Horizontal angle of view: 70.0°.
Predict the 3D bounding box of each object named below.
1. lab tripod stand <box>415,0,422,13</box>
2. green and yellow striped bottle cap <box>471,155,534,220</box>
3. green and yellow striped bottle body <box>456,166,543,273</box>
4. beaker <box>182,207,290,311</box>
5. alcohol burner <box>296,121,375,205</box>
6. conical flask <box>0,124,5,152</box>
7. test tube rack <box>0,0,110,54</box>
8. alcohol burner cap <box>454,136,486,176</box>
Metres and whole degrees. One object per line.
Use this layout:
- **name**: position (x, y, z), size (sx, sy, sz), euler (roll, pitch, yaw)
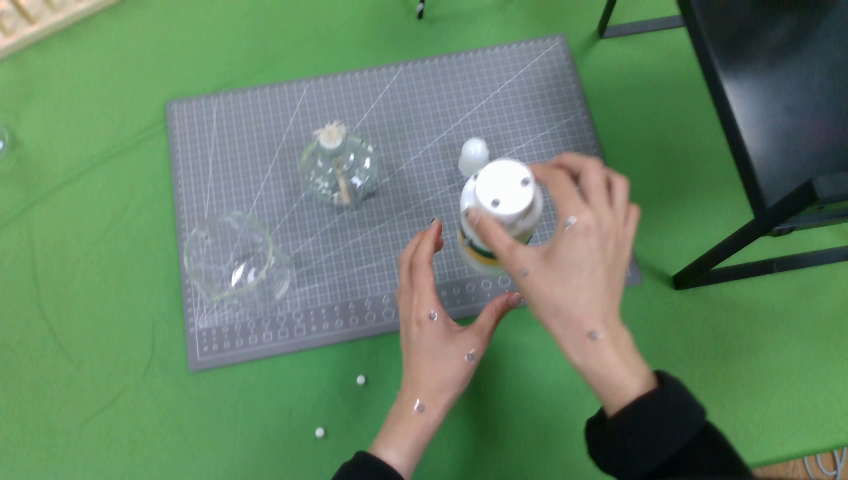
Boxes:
- **lab tripod stand**: position (0.044, -0.329, 0.652), size (0.148, 0.132, 0.147), euler (1, 71, -1)
- **green and yellow striped bottle cap**: position (0.056, -0.038, 0.434), size (0.045, 0.020, 0.045), euler (0, 72, 0)
- **green and yellow striped bottle body**: position (0.058, -0.020, 0.483), size (0.063, 0.120, 0.063), euler (0, 70, 1)
- **beaker**: position (-0.168, 0.026, 0.558), size (0.074, 0.101, 0.083), euler (16, 74, 6)
- **alcohol burner**: position (-0.087, -0.079, 0.583), size (0.078, 0.120, 0.077), euler (1, 71, -1)
- **conical flask**: position (-0.485, -0.120, 0.592), size (0.075, 0.122, 0.075), euler (0, 72, 1)
- **test tube rack**: position (-0.443, -0.281, 0.661), size (0.242, 0.085, 0.066), euler (-31, 75, -9)
- **alcohol burner cap**: position (0.049, -0.089, 0.624), size (0.034, 0.048, 0.033), euler (0, 72, 0)
